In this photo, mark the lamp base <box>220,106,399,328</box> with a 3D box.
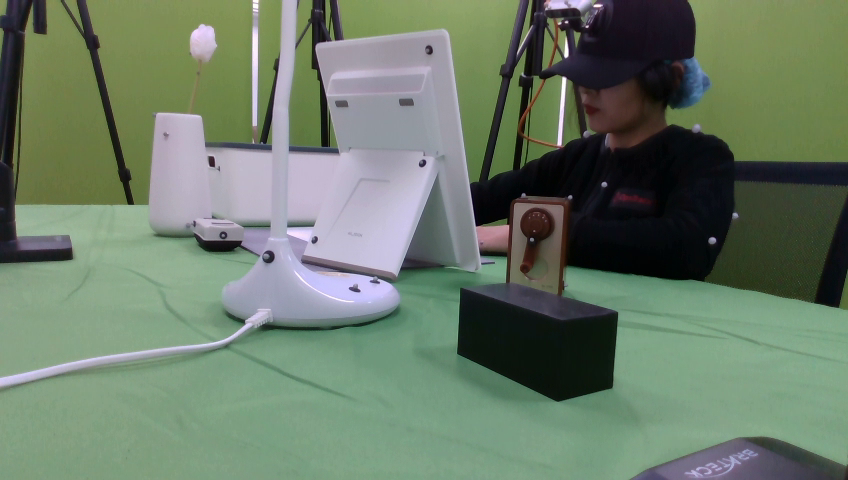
[{"bbox_3d":[-0.101,-0.023,0.531,0.160,0.180,0.179,4,10,10],"label":"lamp base"}]

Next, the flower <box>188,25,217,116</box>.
[{"bbox_3d":[-0.394,-0.189,1.011,0.044,0.361,0.038,-1,-13,28],"label":"flower"}]

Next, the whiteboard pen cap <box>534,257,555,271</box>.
[{"bbox_3d":[0.166,0.033,0.839,0.018,0.018,0.033,-1,6,-23],"label":"whiteboard pen cap"}]

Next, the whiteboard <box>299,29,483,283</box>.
[{"bbox_3d":[-0.074,-0.082,0.742,0.216,0.305,0.144,9,29,38],"label":"whiteboard"}]

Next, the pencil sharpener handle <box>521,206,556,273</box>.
[{"bbox_3d":[0.111,0.000,0.613,0.036,0.067,0.031,13,10,14],"label":"pencil sharpener handle"}]

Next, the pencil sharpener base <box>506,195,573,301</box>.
[{"bbox_3d":[0.127,0.007,0.663,0.061,0.107,0.077,5,8,15],"label":"pencil sharpener base"}]

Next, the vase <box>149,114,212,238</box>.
[{"bbox_3d":[-0.405,-0.106,1.005,0.098,0.200,0.098,2,6,0],"label":"vase"}]

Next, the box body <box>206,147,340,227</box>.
[{"bbox_3d":[-0.276,-0.122,1.320,0.366,0.160,0.253,-2,9,-30],"label":"box body"}]

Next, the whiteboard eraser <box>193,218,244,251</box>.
[{"bbox_3d":[-0.307,-0.009,0.900,0.056,0.042,0.112,-4,11,-28],"label":"whiteboard eraser"}]

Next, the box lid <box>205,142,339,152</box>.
[{"bbox_3d":[-0.270,-0.196,1.310,0.373,0.015,0.262,-2,9,-30],"label":"box lid"}]

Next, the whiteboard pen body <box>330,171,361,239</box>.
[{"bbox_3d":[-0.138,-0.062,1.057,0.017,0.140,0.017,15,-26,8],"label":"whiteboard pen body"}]
